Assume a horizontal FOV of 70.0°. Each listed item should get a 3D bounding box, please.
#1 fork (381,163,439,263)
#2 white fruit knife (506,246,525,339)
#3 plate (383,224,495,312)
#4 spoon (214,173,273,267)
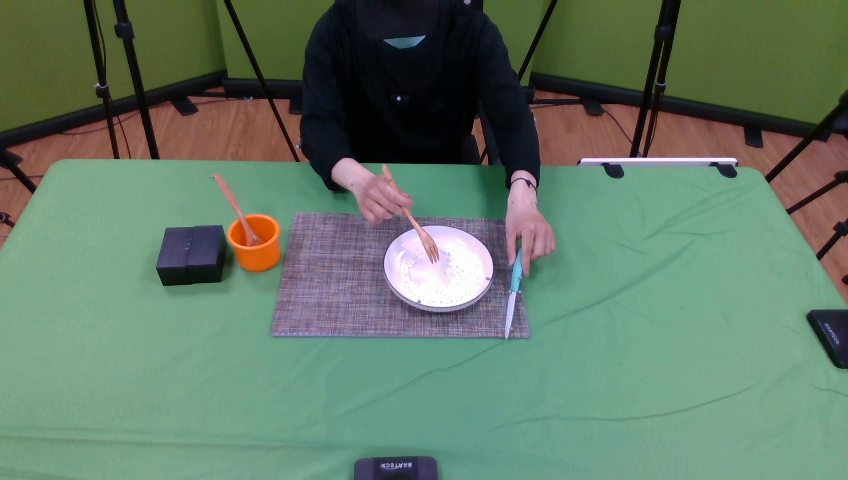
[{"bbox_3d":[-0.026,-0.050,1.111,0.028,0.018,0.207,-27,83,-38],"label":"fork"},{"bbox_3d":[0.166,0.091,1.103,0.016,0.027,0.206,24,53,-12],"label":"white fruit knife"},{"bbox_3d":[0.026,0.055,1.128,0.209,0.038,0.208,2,46,-2],"label":"plate"},{"bbox_3d":[-0.336,-0.037,1.121,0.041,0.194,0.021,-29,10,-24],"label":"spoon"}]
